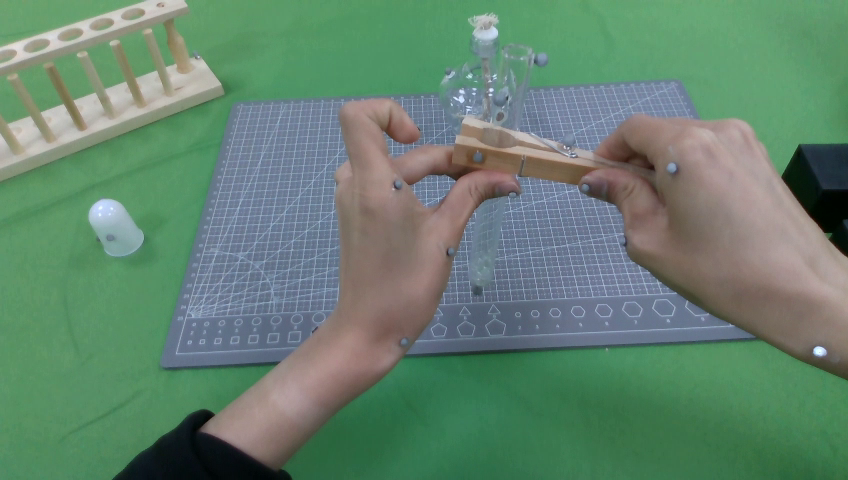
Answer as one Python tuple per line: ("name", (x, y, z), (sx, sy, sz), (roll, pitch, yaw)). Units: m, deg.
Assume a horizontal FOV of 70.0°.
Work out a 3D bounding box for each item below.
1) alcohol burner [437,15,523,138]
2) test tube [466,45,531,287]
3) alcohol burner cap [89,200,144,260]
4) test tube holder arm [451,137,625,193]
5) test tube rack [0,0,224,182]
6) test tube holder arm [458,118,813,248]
("alcohol burner", (0.050, -0.143, 0.531), (0.078, 0.120, 0.077), (0, 51, 1))
("test tube", (0.037, -0.031, 0.328), (0.017, 0.151, 0.017), (3, 40, -2))
("alcohol burner cap", (-0.250, -0.011, 0.486), (0.034, 0.048, 0.033), (-1, 50, 1))
("test tube holder arm", (0.057, -0.038, 0.310), (0.088, 0.015, 0.010), (10, 48, 3))
("test tube rack", (-0.326, -0.143, 0.571), (0.242, 0.086, 0.066), (-28, 54, -19))
("test tube holder arm", (0.102, -0.030, 0.307), (0.178, 0.015, 0.013), (18, 50, 10))
